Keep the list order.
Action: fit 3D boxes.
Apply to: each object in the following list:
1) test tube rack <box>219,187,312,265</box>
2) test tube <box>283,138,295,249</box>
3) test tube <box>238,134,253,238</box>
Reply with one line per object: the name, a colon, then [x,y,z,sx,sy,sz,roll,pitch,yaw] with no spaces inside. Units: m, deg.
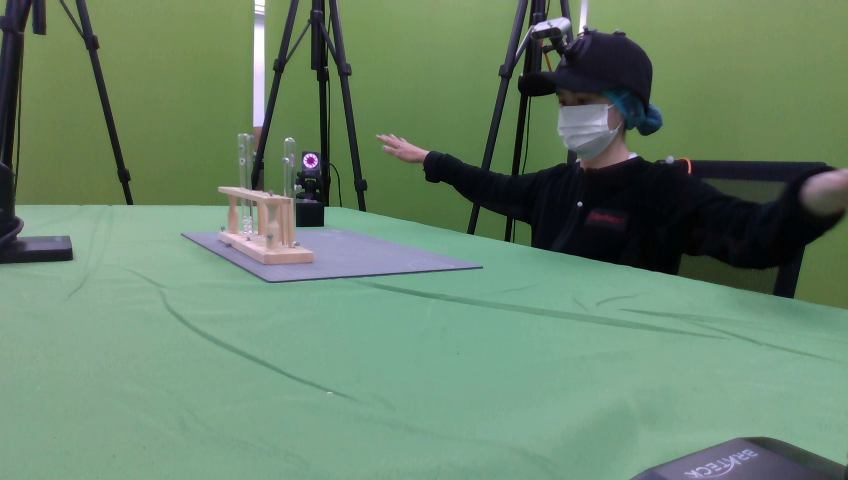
test tube rack: [-0.235,-0.027,0.872,0.067,0.085,0.241,-2,8,-31]
test tube: [-0.182,-0.062,0.815,0.017,0.150,0.017,2,8,0]
test tube: [-0.258,-0.078,0.873,0.017,0.150,0.017,-1,5,0]
